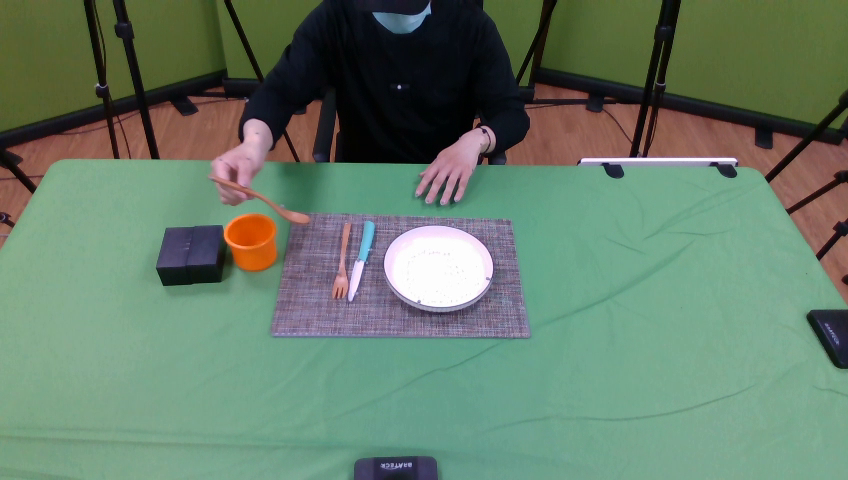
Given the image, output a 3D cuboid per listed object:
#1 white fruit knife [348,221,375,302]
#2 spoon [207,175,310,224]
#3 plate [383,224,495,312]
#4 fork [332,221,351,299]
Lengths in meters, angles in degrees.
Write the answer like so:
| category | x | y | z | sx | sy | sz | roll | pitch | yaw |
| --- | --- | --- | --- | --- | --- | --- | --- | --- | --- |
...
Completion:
| category | x | y | z | sx | sy | sz | roll | pitch | yaw |
| --- | --- | --- | --- | --- | --- | --- | --- | --- | --- |
| white fruit knife | -0.119 | 0.037 | 1.153 | 0.027 | 0.016 | 0.206 | -16 | 42 | 25 |
| spoon | -0.278 | -0.070 | 1.033 | 0.195 | 0.021 | 0.041 | 31 | 15 | -38 |
| plate | 0.026 | 0.055 | 1.128 | 0.209 | 0.038 | 0.208 | 2 | 46 | -2 |
| fork | -0.153 | 0.034 | 1.149 | 0.028 | 0.019 | 0.206 | -6 | 47 | 6 |
